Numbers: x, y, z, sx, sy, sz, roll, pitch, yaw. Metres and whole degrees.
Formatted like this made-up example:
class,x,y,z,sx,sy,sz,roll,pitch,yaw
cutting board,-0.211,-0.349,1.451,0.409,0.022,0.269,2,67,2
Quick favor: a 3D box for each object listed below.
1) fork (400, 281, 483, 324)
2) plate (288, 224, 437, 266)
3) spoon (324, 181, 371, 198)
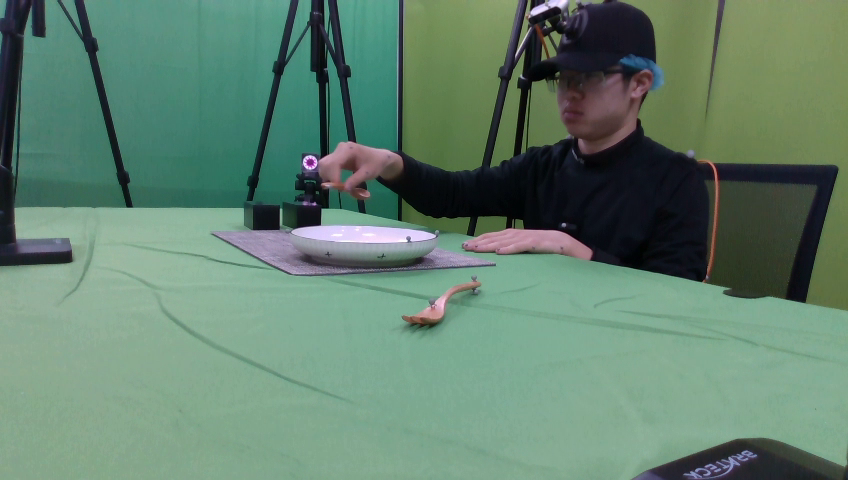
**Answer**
class,x,y,z,sx,sy,sz,roll,pitch,yaw
fork,0.025,0.057,0.590,0.028,0.018,0.208,-2,7,21
plate,-0.086,0.007,0.852,0.208,0.039,0.207,2,7,0
spoon,-0.135,-0.091,1.054,0.041,0.021,0.194,25,3,12
